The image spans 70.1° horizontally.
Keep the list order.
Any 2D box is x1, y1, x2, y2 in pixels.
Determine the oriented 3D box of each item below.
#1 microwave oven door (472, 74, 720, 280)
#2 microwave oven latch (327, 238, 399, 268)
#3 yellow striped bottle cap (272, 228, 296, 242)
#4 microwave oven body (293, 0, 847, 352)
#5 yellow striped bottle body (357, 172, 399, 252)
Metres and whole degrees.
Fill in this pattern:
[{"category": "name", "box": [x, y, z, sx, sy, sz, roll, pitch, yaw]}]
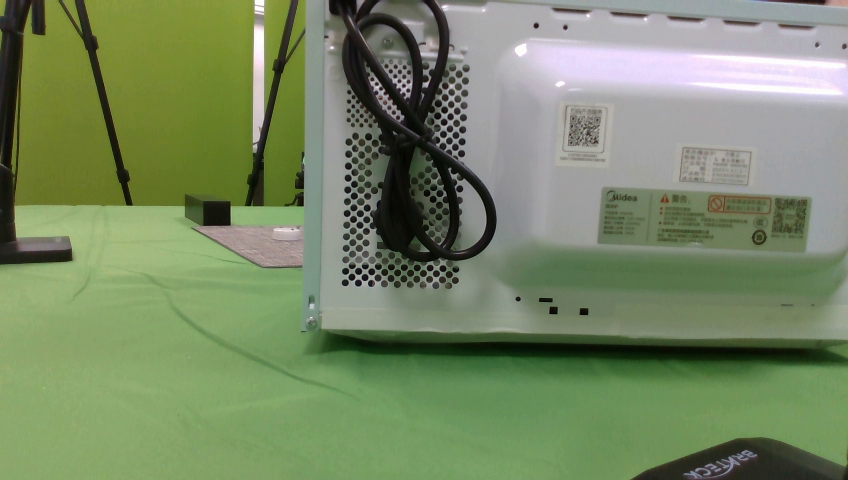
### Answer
[{"category": "microwave oven door", "box": [0.211, -0.092, 0.835, 0.039, 0.243, 0.354, -5, 10, -42]}, {"category": "microwave oven latch", "box": [-0.069, 0.015, 0.694, 0.079, 0.029, 0.030, 3, 7, -3]}, {"category": "yellow striped bottle cap", "box": [-0.232, -0.008, 1.012, 0.044, 0.018, 0.044, 4, 9, 0]}, {"category": "microwave oven body", "box": [0.122, -0.055, 0.551, 0.442, 0.260, 0.325, 3, 7, -5]}, {"category": "yellow striped bottle body", "box": [-0.070, -0.044, 0.932, 0.063, 0.120, 0.063, 3, 8, 0]}]
